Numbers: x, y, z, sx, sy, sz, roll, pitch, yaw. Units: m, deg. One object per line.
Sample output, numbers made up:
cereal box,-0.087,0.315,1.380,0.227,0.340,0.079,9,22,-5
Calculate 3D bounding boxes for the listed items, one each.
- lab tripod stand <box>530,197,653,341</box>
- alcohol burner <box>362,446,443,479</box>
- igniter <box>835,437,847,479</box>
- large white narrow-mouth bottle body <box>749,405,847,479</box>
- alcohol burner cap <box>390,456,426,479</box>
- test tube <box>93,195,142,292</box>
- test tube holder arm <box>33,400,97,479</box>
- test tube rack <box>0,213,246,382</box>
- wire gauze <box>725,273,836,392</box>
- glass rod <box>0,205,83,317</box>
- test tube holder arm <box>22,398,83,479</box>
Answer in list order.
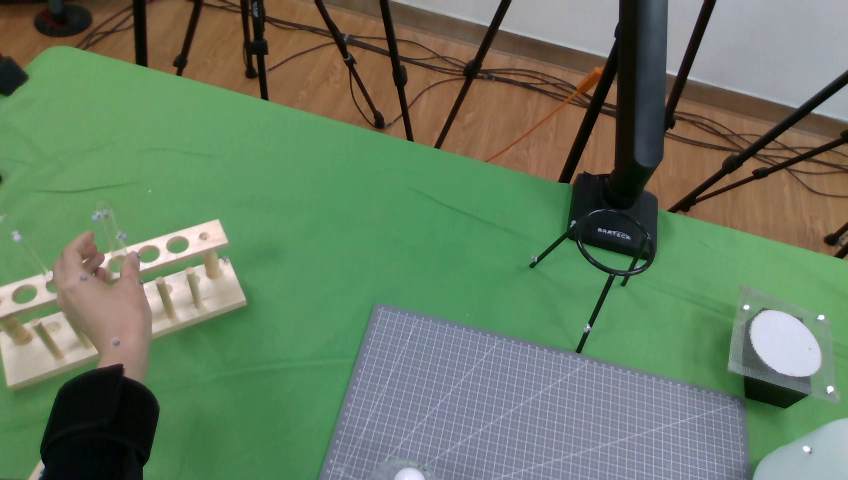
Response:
lab tripod stand,0.202,0.028,0.714,0.149,0.132,0.147,5,57,-7
alcohol burner,-0.017,0.224,0.554,0.078,0.120,0.077,5,55,-7
igniter,0.434,0.331,0.607,0.057,0.025,0.275,29,56,-4
large white narrow-mouth bottle body,0.407,0.216,0.580,0.102,0.196,0.101,4,55,-5
alcohol burner cap,-0.013,0.205,0.524,0.034,0.048,0.033,2,59,-2
test tube,-0.308,0.010,0.615,0.017,0.151,0.017,6,51,-7
test tube holder arm,-0.321,0.185,0.536,0.010,0.015,0.087,17,54,7
test tube rack,-0.322,0.057,0.640,0.243,0.086,0.066,-20,61,-21
wire gauze,0.418,0.107,0.710,0.121,0.011,0.124,21,55,6
glass rod,-0.368,0.020,0.577,0.008,0.201,0.008,2,51,-2
test tube holder arm,-0.340,0.217,0.510,0.013,0.015,0.177,16,54,6
